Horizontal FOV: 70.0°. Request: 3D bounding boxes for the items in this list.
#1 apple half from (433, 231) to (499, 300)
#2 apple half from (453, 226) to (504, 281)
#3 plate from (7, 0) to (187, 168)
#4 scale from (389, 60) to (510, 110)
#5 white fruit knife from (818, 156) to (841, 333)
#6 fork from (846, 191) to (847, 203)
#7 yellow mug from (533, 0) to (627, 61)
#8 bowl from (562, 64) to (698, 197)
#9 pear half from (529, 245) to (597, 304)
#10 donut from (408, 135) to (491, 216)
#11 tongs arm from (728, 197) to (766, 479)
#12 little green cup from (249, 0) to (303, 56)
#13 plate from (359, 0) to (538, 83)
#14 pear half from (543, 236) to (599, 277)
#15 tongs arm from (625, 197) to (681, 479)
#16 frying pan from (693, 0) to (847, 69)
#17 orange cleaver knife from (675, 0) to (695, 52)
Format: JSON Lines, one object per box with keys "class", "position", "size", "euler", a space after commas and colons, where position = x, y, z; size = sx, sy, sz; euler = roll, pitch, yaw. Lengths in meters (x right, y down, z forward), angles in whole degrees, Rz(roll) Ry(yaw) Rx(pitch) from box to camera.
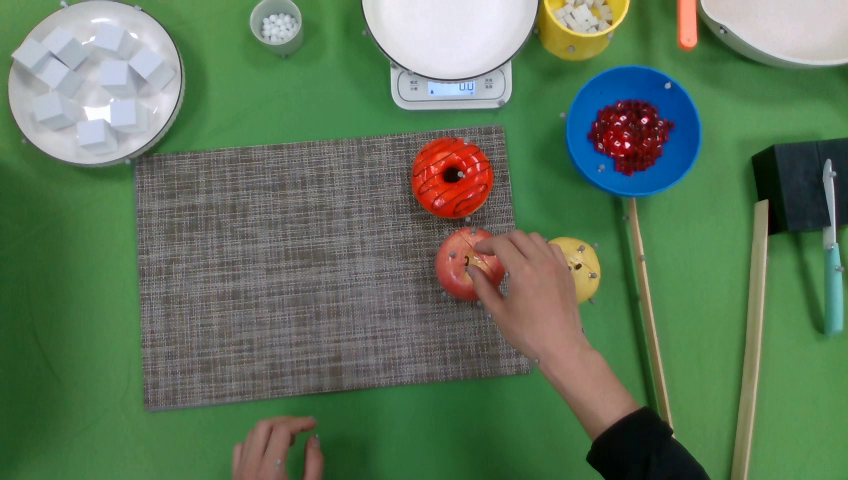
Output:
{"class": "apple half", "position": [0.040, 0.036, 0.684], "size": [0.053, 0.075, 0.080], "euler": [-41, 87, -2]}
{"class": "apple half", "position": [0.068, 0.009, 0.687], "size": [0.033, 0.081, 0.081], "euler": [-43, 84, -2]}
{"class": "plate", "position": [-0.387, -0.185, 0.732], "size": [0.208, 0.039, 0.207], "euler": [0, 82, 0]}
{"class": "scale", "position": [0.030, -0.262, 0.748], "size": [0.149, 0.031, 0.200], "euler": [-1, 83, 0]}
{"class": "white fruit knife", "position": [0.461, 0.008, 0.692], "size": [0.016, 0.027, 0.208], "euler": [-8, 97, -1]}
{"class": "fork", "position": [0.514, 0.042, 0.696], "size": [0.028, 0.018, 0.208], "euler": [-15, 98, -4]}
{"class": "yellow mug", "position": [0.177, -0.290, 0.735], "size": [0.100, 0.064, 0.130], "euler": [-38, 83, -4]}
{"class": "bowl", "position": [0.229, -0.118, 0.708], "size": [0.151, 0.077, 0.151], "euler": [0, 83, 0]}
{"class": "pear half", "position": [0.152, 0.042, 0.670], "size": [0.076, 0.110, 0.056], "euler": [26, 83, 7]}
{"class": "donut", "position": [0.029, -0.076, 0.714], "size": [0.099, 0.048, 0.099], "euler": [0, 83, 2]}
{"class": "tongs arm", "position": [0.367, 0.138, 0.701], "size": [0.028, 0.028, 0.386], "euler": [10, 83, -7]}
{"class": "little green cup", "position": [-0.178, -0.258, 0.743], "size": [0.061, 0.039, 0.061], "euler": [0, 82, 0]}
{"class": "plate", "position": [0.029, -0.281, 0.717], "size": [0.209, 0.038, 0.208], "euler": [0, 82, -1]}
{"class": "pear half", "position": [0.170, 0.013, 0.684], "size": [0.070, 0.088, 0.031], "euler": [25, 83, 6]}
{"class": "tongs arm", "position": [0.281, 0.138, 0.697], "size": [0.051, 0.026, 0.383], "euler": [-5, 84, -5]}
{"class": "frying pan", "position": [0.506, -0.257, 0.714], "size": [0.307, 0.103, 0.485], "euler": [-32, 76, -3]}
{"class": "orange cleaver knife", "position": [0.316, -0.321, 0.703], "size": [0.077, 0.012, 0.210], "euler": [-1, 83, 2]}
